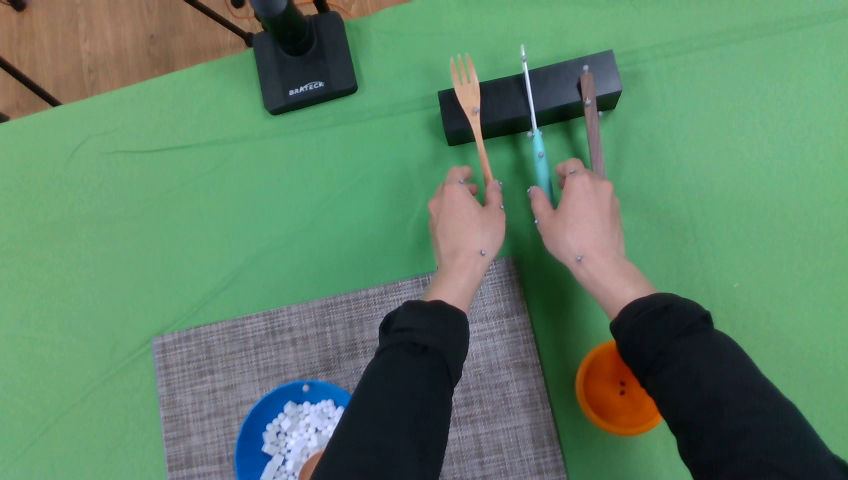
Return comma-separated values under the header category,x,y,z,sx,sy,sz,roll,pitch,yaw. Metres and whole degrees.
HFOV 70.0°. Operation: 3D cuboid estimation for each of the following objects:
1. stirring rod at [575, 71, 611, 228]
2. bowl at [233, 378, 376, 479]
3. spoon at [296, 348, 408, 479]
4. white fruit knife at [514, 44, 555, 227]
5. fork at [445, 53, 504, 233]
category,x,y,z,sx,sy,sz,roll,pitch,yaw
stirring rod,0.189,-0.100,0.678,0.014,0.006,0.176,-11,98,4
bowl,-0.118,0.224,0.652,0.151,0.077,0.150,-1,79,8
spoon,-0.071,0.187,0.617,0.041,0.021,0.194,37,106,6
white fruit knife,0.121,-0.116,0.679,0.016,0.027,0.207,-12,95,2
fork,0.061,-0.106,0.687,0.028,0.018,0.208,-15,98,5
